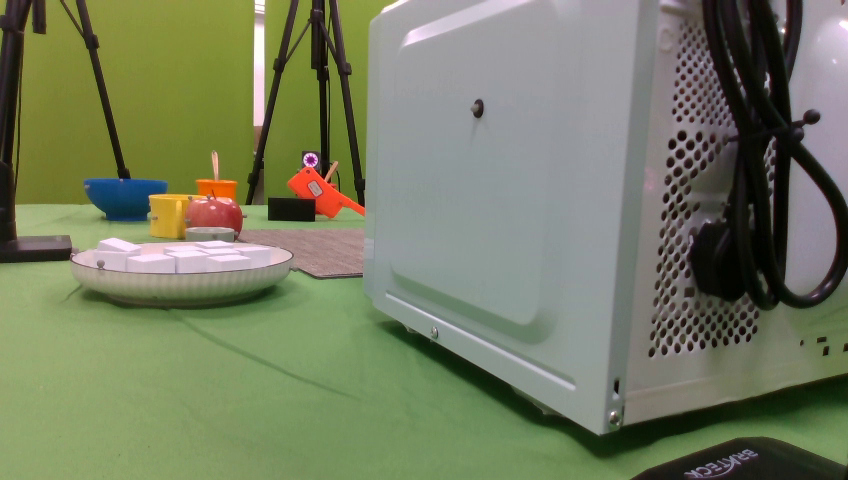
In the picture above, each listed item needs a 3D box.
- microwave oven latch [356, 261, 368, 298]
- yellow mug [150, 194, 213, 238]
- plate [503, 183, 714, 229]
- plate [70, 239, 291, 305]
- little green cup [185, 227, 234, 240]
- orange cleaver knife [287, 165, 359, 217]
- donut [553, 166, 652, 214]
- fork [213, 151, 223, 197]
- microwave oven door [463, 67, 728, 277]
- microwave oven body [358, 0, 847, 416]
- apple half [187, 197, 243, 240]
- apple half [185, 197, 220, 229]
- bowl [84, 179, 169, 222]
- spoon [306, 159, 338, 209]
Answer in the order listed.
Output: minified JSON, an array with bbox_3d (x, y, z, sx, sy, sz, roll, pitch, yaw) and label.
[{"bbox_3d":[-0.020,0.033,0.530,0.079,0.029,0.030,0,7,-26],"label":"microwave oven latch"},{"bbox_3d":[-0.401,-0.040,1.003,0.100,0.064,0.130,-1,9,-20],"label":"yellow mug"},{"bbox_3d":[0.185,-0.037,0.624,0.209,0.038,0.209,3,6,0],"label":"plate"},{"bbox_3d":[-0.242,0.031,0.618,0.208,0.039,0.207,3,8,0],"label":"plate"},{"bbox_3d":[-0.285,0.005,0.805,0.061,0.038,0.061,2,8,0],"label":"little green cup"},{"bbox_3d":[-0.211,-0.092,1.382,0.212,0.077,0.012,34,1,-15],"label":"orange cleaver knife"},{"bbox_3d":[0.182,-0.050,0.622,0.099,0.048,0.099,5,4,0],"label":"donut"},{"bbox_3d":[-0.493,-0.143,1.442,0.028,0.018,0.206,-3,52,-18],"label":"fork"},{"bbox_3d":[0.206,-0.096,0.812,0.354,0.243,0.039,9,11,41],"label":"microwave oven door"},{"bbox_3d":[0.210,-0.047,0.475,0.444,0.260,0.324,-1,7,-28],"label":"microwave oven body"},{"bbox_3d":[-0.305,-0.026,0.907,0.053,0.074,0.081,12,8,31],"label":"apple half"},{"bbox_3d":[-0.338,-0.031,0.927,0.032,0.081,0.081,12,12,31],"label":"apple half"},{"bbox_3d":[-0.584,-0.078,1.194,0.151,0.077,0.151,3,8,0],"label":"bowl"},{"bbox_3d":[-0.257,-0.147,1.567,0.041,0.022,0.193,1,51,20],"label":"spoon"}]
